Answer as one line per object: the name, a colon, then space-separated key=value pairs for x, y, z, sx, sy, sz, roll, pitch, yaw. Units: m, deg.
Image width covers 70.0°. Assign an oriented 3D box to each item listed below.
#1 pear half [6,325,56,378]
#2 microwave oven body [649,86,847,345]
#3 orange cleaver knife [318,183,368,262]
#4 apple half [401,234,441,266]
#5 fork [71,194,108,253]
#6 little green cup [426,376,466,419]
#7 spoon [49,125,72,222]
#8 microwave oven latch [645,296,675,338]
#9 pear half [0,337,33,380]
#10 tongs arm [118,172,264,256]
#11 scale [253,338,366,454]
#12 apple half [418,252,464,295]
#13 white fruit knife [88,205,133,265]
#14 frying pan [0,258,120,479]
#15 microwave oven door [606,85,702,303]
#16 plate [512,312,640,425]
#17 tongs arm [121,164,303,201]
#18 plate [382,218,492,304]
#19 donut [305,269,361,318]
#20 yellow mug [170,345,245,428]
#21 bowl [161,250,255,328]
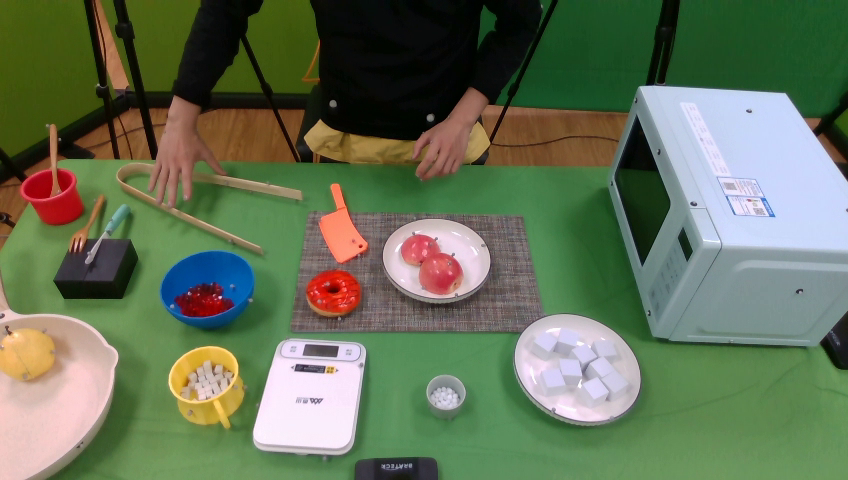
pear half: x=-0.608 y=0.158 z=0.935 sx=0.076 sy=0.110 sz=0.056 roll=31 pitch=51 yaw=20
microwave oven body: x=0.567 y=-0.053 z=1.118 sx=0.326 sy=0.261 sz=0.439 roll=2 pitch=45 yaw=-1
orange cleaver knife: x=-0.173 y=-0.037 z=1.218 sx=0.077 sy=0.012 sz=0.210 roll=-16 pitch=50 yaw=-12
apple half: x=-0.005 y=0.014 z=1.159 sx=0.081 sy=0.033 sz=0.081 roll=5 pitch=44 yaw=-4
fork: x=-0.634 y=-0.036 z=1.158 sx=0.028 sy=0.019 sz=0.206 roll=-8 pitch=32 yaw=-8
little green cup: x=0.033 y=0.248 z=0.950 sx=0.061 sy=0.039 sz=0.061 roll=2 pitch=46 yaw=-2
spoon: x=-0.718 y=-0.131 z=1.189 sx=0.041 sy=0.021 sz=0.193 roll=-4 pitch=90 yaw=-7
microwave oven latch: x=0.412 y=0.134 z=1.061 sx=0.030 sy=0.029 sz=0.078 roll=3 pitch=45 yaw=1
pear half: x=-0.631 y=0.184 z=0.921 sx=0.070 sy=0.088 sz=0.031 roll=29 pitch=49 yaw=19
tongs arm: x=-0.473 y=-0.053 z=1.211 sx=0.386 sy=0.028 sz=0.028 roll=24 pitch=57 yaw=17
scale: x=-0.175 y=0.236 z=0.951 sx=0.149 sy=0.032 sz=0.199 roll=4 pitch=45 yaw=-1
apple half: x=0.033 y=0.055 z=1.109 sx=0.081 sy=0.053 sz=0.074 roll=-31 pitch=58 yaw=-28
white fruit knife: x=-0.584 y=-0.013 z=1.129 sx=0.016 sy=0.027 sz=0.206 roll=0 pitch=32 yaw=-5
frying pan: x=-0.647 y=0.164 z=0.936 sx=0.307 sy=0.103 sz=0.485 roll=-19 pitch=58 yaw=-22
microwave oven door: x=0.422 y=-0.094 z=1.140 sx=0.039 sy=0.245 sz=0.353 roll=2 pitch=46 yaw=-1
plate: x=0.246 y=0.213 z=0.999 sx=0.208 sy=0.039 sz=0.206 roll=2 pitch=46 yaw=-2
tongs arm: x=-0.444 y=-0.114 z=1.266 sx=0.384 sy=0.026 sz=0.050 roll=12 pitch=51 yaw=8
plate: x=0.023 y=0.042 z=1.143 sx=0.209 sy=0.038 sz=0.208 roll=2 pitch=46 yaw=-2
donut: x=-0.160 y=0.094 z=1.075 sx=0.099 sy=0.048 sz=0.098 roll=4 pitch=45 yaw=-3
yellow mug: x=-0.322 y=0.230 z=0.922 sx=0.100 sy=0.064 sz=0.130 roll=-24 pitch=53 yaw=-25
bowl: x=-0.362 y=0.098 z=1.040 sx=0.151 sy=0.077 sz=0.150 roll=2 pitch=45 yaw=-2
